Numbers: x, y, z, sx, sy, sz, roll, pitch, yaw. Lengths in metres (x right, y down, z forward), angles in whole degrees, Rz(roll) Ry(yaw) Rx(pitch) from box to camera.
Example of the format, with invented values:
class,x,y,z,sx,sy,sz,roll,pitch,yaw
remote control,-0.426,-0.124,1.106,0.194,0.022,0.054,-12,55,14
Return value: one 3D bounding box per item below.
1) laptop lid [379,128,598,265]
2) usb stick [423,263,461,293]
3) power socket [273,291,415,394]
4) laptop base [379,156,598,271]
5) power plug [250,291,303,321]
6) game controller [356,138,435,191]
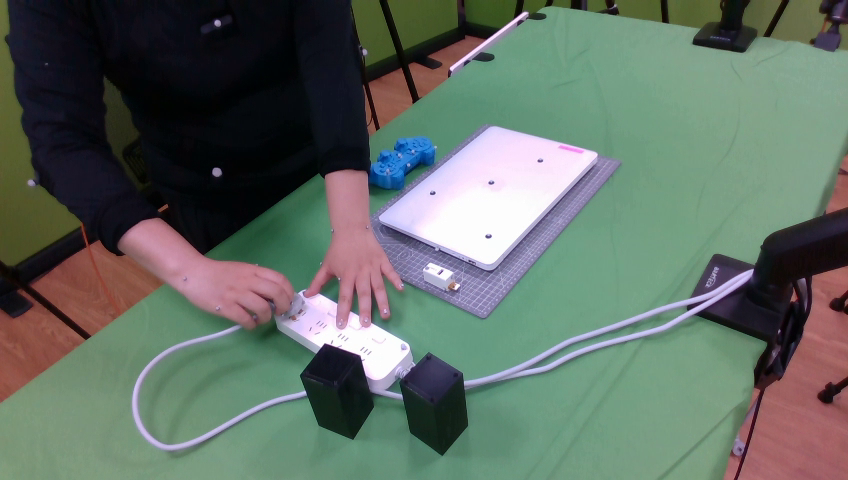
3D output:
class,x,y,z,sx,sy,sz,roll,pitch,yaw
laptop lid,0.117,-0.095,1.048,0.239,0.013,0.358,23,49,34
usb stick,0.028,0.058,0.889,0.059,0.027,0.021,25,47,29
power socket,-0.115,0.134,0.820,0.225,0.033,0.072,24,47,31
laptop base,0.120,-0.085,1.054,0.233,0.023,0.355,21,48,34
power plug,-0.199,0.096,0.821,0.073,0.053,0.035,-29,42,-16
game controller,-0.049,-0.150,1.136,0.096,0.052,0.155,28,51,28
